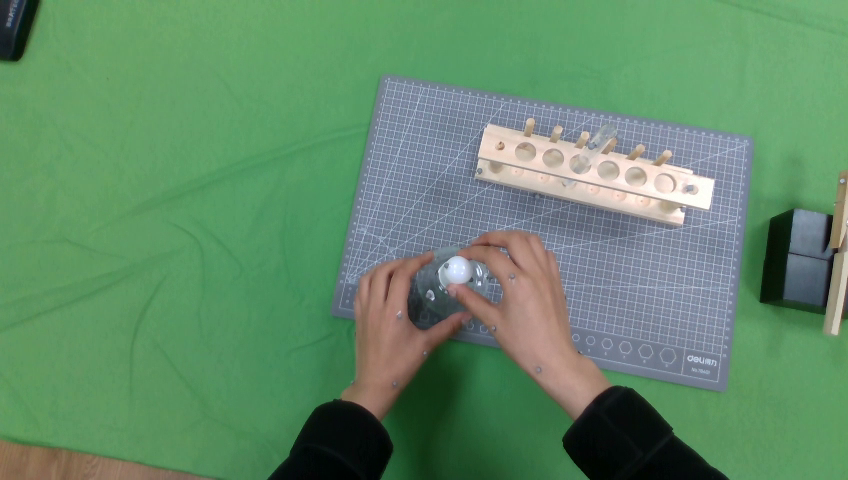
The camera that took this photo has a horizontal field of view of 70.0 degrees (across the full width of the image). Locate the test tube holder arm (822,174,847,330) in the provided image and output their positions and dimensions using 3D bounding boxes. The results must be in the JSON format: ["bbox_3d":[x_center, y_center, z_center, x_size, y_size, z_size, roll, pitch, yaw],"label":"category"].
[{"bbox_3d":[0.439,0.006,0.641,0.013,0.015,0.178,10,82,-4],"label":"test tube holder arm"}]

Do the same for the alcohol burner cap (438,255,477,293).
[{"bbox_3d":[0.030,0.031,0.582,0.034,0.048,0.033,-5,75,19],"label":"alcohol burner cap"}]

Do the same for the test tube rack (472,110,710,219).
[{"bbox_3d":[0.180,-0.091,0.670,0.242,0.085,0.066,14,82,3],"label":"test tube rack"}]

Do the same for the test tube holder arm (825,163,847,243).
[{"bbox_3d":[0.442,-0.039,0.647,0.010,0.015,0.087,12,82,-3],"label":"test tube holder arm"}]

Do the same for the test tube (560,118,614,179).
[{"bbox_3d":[0.163,-0.090,0.619,0.017,0.150,0.017,0,79,-1],"label":"test tube"}]

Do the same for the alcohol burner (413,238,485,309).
[{"bbox_3d":[0.027,0.034,0.639,0.078,0.119,0.077,0,81,0],"label":"alcohol burner"}]
